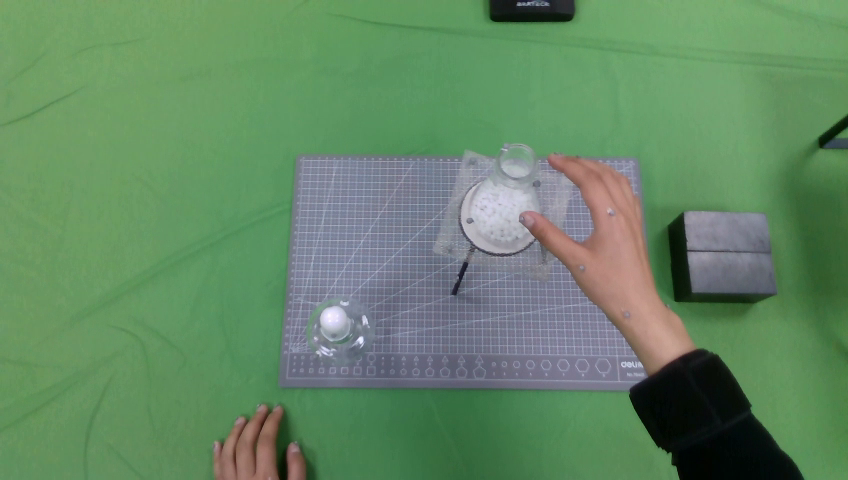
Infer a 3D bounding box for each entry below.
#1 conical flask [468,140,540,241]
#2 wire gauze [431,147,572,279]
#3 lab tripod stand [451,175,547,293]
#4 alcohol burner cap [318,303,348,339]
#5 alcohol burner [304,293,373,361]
[{"bbox_3d":[0.081,-0.051,0.578,0.075,0.122,0.075,0,72,1],"label":"conical flask"},{"bbox_3d":[0.083,-0.029,0.632,0.121,0.011,0.124,17,71,4],"label":"wire gauze"},{"bbox_3d":[0.077,-0.011,0.696,0.148,0.132,0.147,0,73,1],"label":"lab tripod stand"},{"bbox_3d":[-0.098,0.083,0.638,0.034,0.048,0.033,2,68,-4],"label":"alcohol burner cap"},{"bbox_3d":[-0.097,0.094,0.672,0.078,0.119,0.077,0,74,0],"label":"alcohol burner"}]
